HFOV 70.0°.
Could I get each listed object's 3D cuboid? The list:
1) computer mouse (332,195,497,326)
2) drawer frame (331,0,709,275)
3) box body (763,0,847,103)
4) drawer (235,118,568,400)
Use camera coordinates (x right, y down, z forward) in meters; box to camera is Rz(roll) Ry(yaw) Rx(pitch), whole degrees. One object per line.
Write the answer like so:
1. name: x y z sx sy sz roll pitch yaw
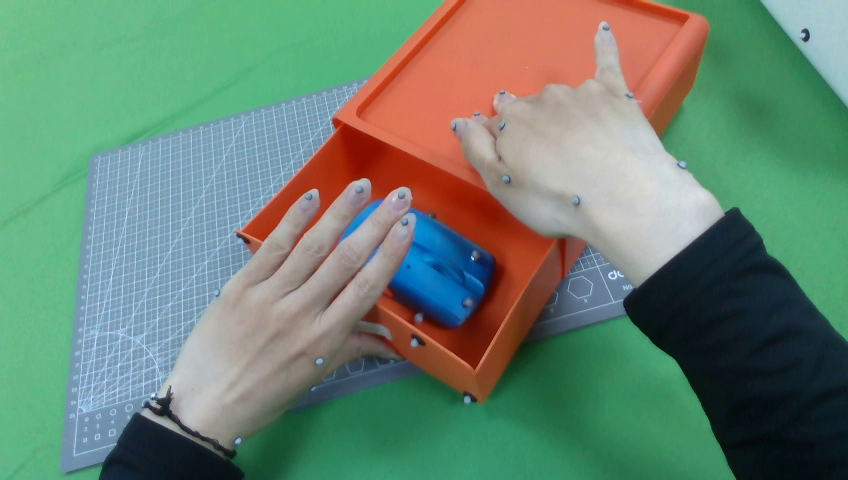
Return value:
1. computer mouse: -0.008 0.010 0.433 0.116 0.041 0.062 28 65 19
2. drawer frame: 0.073 -0.107 0.472 0.200 0.083 0.213 28 67 25
3. box body: 0.412 -0.234 0.443 0.254 0.162 0.360 -15 57 1
4. drawer: 0.011 -0.026 0.436 0.193 0.074 0.211 27 66 25
